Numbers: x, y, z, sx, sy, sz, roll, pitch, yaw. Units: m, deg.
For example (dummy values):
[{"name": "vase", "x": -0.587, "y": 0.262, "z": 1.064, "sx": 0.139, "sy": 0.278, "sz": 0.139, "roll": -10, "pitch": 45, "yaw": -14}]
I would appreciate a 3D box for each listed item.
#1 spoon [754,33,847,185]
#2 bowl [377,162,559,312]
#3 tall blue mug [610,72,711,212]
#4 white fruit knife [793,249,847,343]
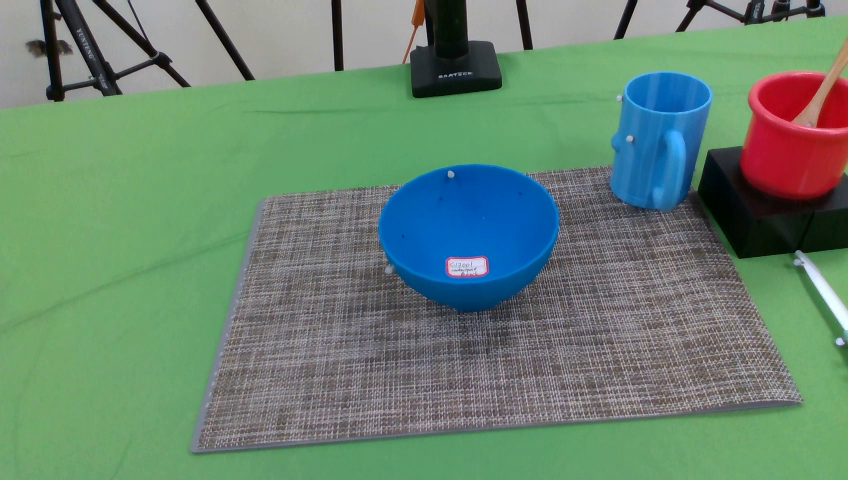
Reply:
[{"name": "spoon", "x": 0.344, "y": -0.133, "z": 0.515, "sx": 0.041, "sy": 0.022, "sz": 0.194, "roll": 34, "pitch": 101, "yaw": 38}, {"name": "bowl", "x": 0.039, "y": 0.009, "z": 0.524, "sx": 0.151, "sy": 0.077, "sz": 0.150, "roll": -4, "pitch": 44, "yaw": 4}, {"name": "tall blue mug", "x": 0.230, "y": -0.086, "z": 0.574, "sx": 0.078, "sy": 0.109, "sz": 0.106, "roll": -19, "pitch": 44, "yaw": -13}, {"name": "white fruit knife", "x": 0.333, "y": 0.078, "z": 0.463, "sx": 0.027, "sy": 0.016, "sz": 0.205, "roll": 15, "pitch": 39, "yaw": -15}]
